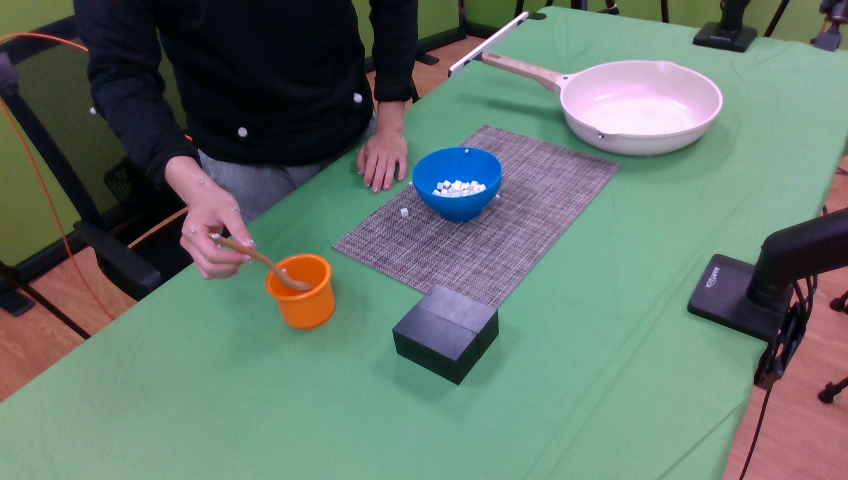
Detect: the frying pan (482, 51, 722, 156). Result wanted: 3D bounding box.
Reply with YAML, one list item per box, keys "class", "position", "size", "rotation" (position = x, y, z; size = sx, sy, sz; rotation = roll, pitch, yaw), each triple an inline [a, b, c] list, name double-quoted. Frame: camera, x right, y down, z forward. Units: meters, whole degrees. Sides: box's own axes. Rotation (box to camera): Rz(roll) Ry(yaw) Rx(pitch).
- class: "frying pan"
  position: [0.326, -0.298, 1.204]
  size: [0.485, 0.103, 0.307]
  rotation: [28, 51, 23]

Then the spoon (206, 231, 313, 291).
- class: "spoon"
  position: [-0.203, 0.028, 0.759]
  size: [0.041, 0.195, 0.021]
  rotation: [20, 75, 33]

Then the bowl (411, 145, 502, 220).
- class: "bowl"
  position: [0.057, -0.086, 1.010]
  size: [0.151, 0.077, 0.150]
  rotation: [-4, 40, 4]
